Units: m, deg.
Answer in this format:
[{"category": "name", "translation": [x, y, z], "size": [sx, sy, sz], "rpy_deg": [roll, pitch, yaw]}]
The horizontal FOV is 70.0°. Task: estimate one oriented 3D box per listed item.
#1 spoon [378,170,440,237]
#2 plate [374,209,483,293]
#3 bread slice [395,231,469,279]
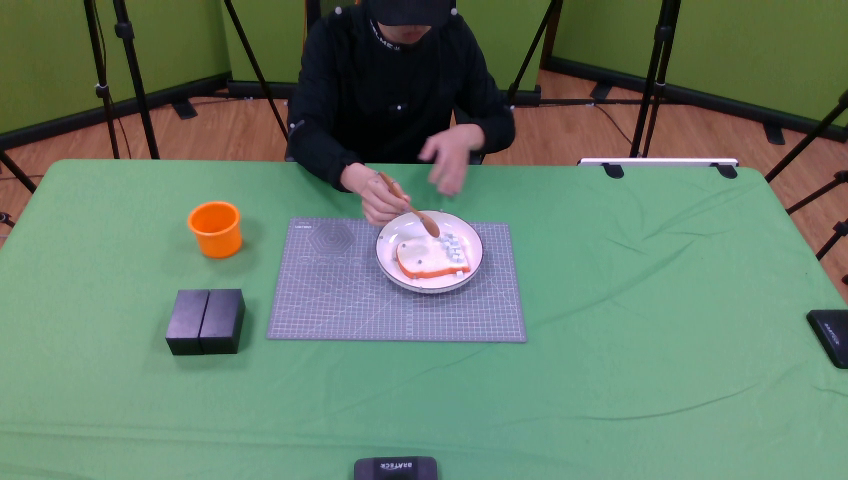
[{"category": "spoon", "translation": [-0.026, -0.063, 1.087], "size": [0.041, 0.195, 0.021], "rpy_deg": [19, 73, 43]}, {"category": "plate", "translation": [0.009, 0.024, 1.160], "size": [0.209, 0.038, 0.208], "rpy_deg": [2, 46, -2]}, {"category": "bread slice", "translation": [0.011, 0.030, 1.159], "size": [0.132, 0.019, 0.104], "rpy_deg": [-9, 47, -14]}]
